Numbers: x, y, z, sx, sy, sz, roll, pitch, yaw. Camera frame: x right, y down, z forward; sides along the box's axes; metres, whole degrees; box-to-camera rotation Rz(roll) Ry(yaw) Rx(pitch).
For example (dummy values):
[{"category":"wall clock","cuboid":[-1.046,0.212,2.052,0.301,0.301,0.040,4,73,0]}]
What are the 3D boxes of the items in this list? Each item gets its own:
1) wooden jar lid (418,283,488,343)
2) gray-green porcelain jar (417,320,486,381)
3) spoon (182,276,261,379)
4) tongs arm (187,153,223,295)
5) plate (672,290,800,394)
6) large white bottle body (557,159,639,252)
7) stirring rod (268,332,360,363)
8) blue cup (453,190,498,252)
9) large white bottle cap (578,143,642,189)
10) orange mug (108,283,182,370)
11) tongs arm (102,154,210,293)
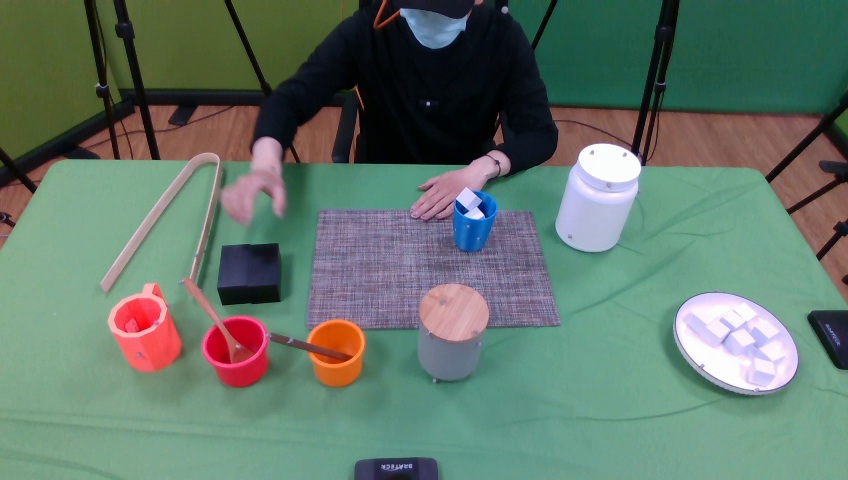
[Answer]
[{"category":"wooden jar lid","cuboid":[0.044,0.114,0.931,0.108,0.021,0.107,2,49,-2]},{"category":"gray-green porcelain jar","cuboid":[0.042,0.158,0.975,0.106,0.127,0.105,2,46,-2]},{"category":"spoon","cuboid":[-0.321,0.137,0.957,0.041,0.021,0.194,-36,102,-32]},{"category":"tongs arm","cuboid":[-0.442,-0.045,1.199,0.051,0.027,0.382,-3,46,1]},{"category":"plate","cuboid":[0.533,0.178,1.050,0.208,0.039,0.206,2,46,-2]},{"category":"large white bottle body","cuboid":[0.340,-0.081,1.185,0.131,0.185,0.130,2,46,-1]},{"category":"stirring rod","cuboid":[-0.167,0.169,0.942,0.177,0.006,0.014,26,28,-41]},{"category":"blue cup","cuboid":[0.094,-0.032,1.173,0.093,0.101,0.092,3,45,-3]},{"category":"large white bottle cap","cuboid":[0.344,-0.139,1.123,0.115,0.018,0.114,2,46,-2]},{"category":"orange mug","cuboid":[-0.446,0.134,0.983,0.083,0.101,0.125,-1,50,-5]},{"category":"tongs arm","cuboid":[-0.524,-0.047,1.202,0.028,0.028,0.385,4,45,12]}]
